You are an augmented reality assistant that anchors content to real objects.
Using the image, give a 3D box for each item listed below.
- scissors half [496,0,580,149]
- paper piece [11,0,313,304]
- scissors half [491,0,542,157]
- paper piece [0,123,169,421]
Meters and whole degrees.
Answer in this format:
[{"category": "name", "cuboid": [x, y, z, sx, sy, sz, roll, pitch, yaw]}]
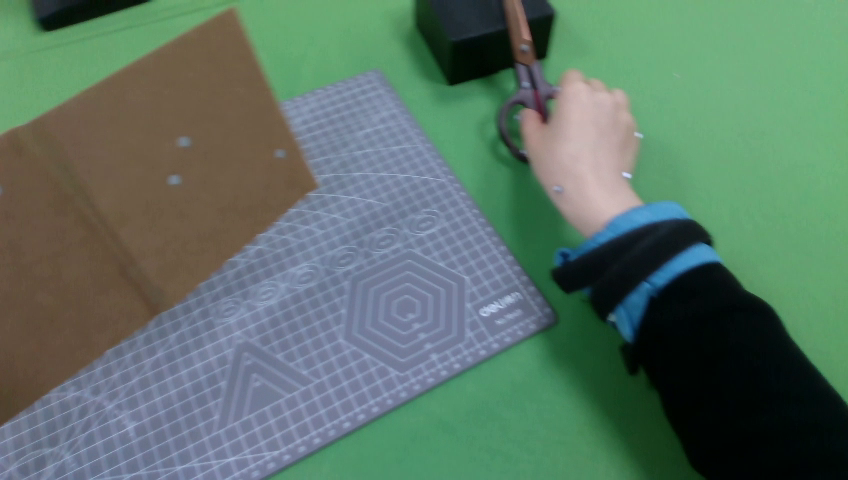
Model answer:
[{"category": "scissors half", "cuboid": [0.091, -0.159, 0.514, 0.040, 0.013, 0.174, -22, 81, -3]}, {"category": "paper piece", "cuboid": [-0.139, -0.051, 0.365, 0.004, 0.137, 0.135, 20, 54, 39]}, {"category": "scissors half", "cuboid": [0.071, -0.154, 0.513, 0.040, 0.013, 0.174, -4, 80, -5]}, {"category": "paper piece", "cuboid": [-0.229, 0.031, 0.311, 0.138, 0.137, 0.008, -38, 40, -21]}]
